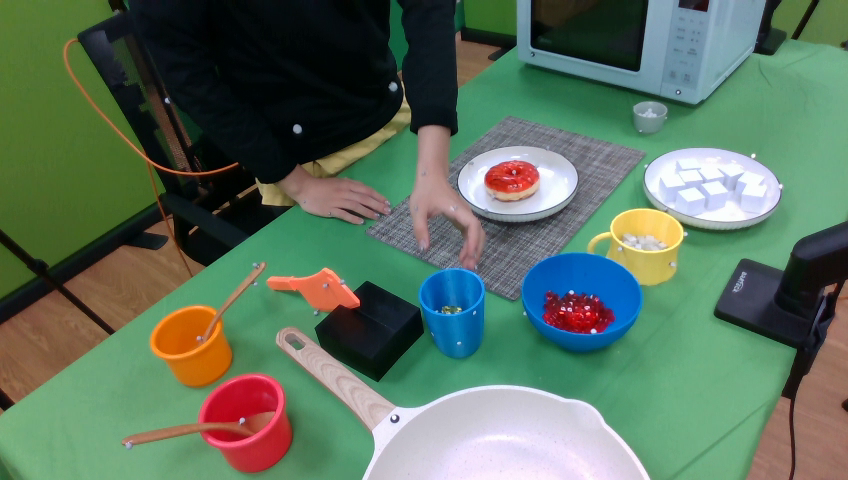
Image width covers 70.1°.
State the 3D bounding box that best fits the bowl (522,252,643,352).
[{"bbox_3d":[0.204,0.093,0.792,0.151,0.077,0.150,-4,40,4],"label":"bowl"}]

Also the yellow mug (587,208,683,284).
[{"bbox_3d":[0.305,0.009,0.884,0.131,0.064,0.099,-4,40,5],"label":"yellow mug"}]

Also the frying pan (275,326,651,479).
[{"bbox_3d":[0.004,0.229,0.641,0.484,0.103,0.308,34,54,28],"label":"frying pan"}]

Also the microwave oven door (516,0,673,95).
[{"bbox_3d":[0.344,-0.458,1.256,0.353,0.245,0.039,26,51,33],"label":"microwave oven door"}]

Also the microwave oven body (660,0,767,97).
[{"bbox_3d":[0.473,-0.516,1.313,0.438,0.261,0.327,26,51,34],"label":"microwave oven body"}]

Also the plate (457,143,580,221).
[{"bbox_3d":[0.161,-0.097,1.042,0.209,0.038,0.208,-4,40,4],"label":"plate"}]

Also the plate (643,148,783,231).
[{"bbox_3d":[0.464,-0.080,0.985,0.207,0.039,0.206,-4,41,4],"label":"plate"}]

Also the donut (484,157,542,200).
[{"bbox_3d":[0.153,-0.107,1.039,0.099,0.048,0.098,-5,37,5],"label":"donut"}]

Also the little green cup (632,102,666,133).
[{"bbox_3d":[0.434,-0.237,1.171,0.061,0.039,0.061,-5,40,5],"label":"little green cup"}]

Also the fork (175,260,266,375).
[{"bbox_3d":[-0.268,0.102,0.792,0.207,0.019,0.028,-51,41,16],"label":"fork"}]

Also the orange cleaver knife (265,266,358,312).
[{"bbox_3d":[-0.164,0.073,0.864,0.210,0.077,0.012,-6,30,50],"label":"orange cleaver knife"}]

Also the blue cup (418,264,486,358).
[{"bbox_3d":[0.042,0.100,0.787,0.092,0.101,0.092,-6,42,5],"label":"blue cup"}]

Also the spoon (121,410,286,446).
[{"bbox_3d":[-0.236,0.208,0.669,0.041,0.021,0.195,35,12,38],"label":"spoon"}]

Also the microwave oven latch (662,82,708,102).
[{"bbox_3d":[0.518,-0.299,1.203,0.078,0.029,0.030,29,53,36],"label":"microwave oven latch"}]
